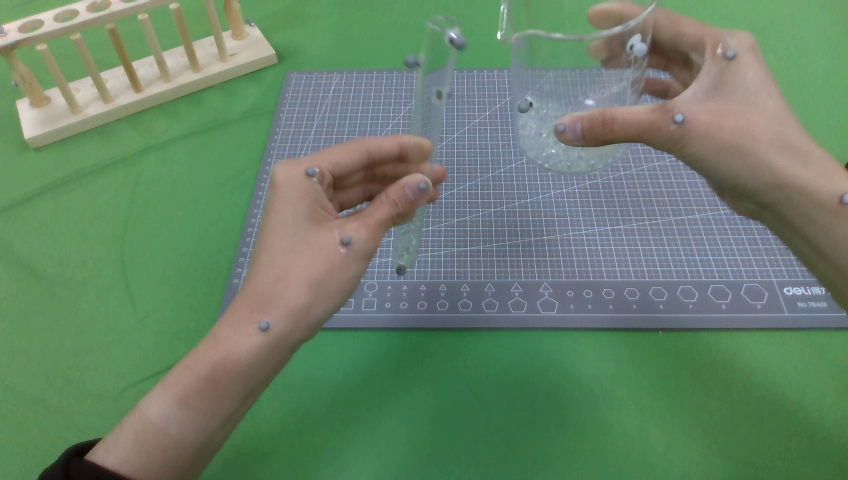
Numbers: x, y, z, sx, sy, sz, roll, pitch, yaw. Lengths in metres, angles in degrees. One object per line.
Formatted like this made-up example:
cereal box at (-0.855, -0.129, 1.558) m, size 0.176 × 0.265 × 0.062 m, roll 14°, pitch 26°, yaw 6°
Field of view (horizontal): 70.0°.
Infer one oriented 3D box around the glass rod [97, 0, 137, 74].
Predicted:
glass rod at (-0.287, -0.222, 0.524) m, size 0.008 × 0.201 × 0.008 m, roll 1°, pitch 54°, yaw -1°

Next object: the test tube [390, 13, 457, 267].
test tube at (-0.003, -0.042, 0.315) m, size 0.017 × 0.151 × 0.017 m, roll 6°, pitch 41°, yaw -5°

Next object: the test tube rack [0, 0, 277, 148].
test tube rack at (-0.274, -0.181, 0.576) m, size 0.242 × 0.086 × 0.066 m, roll -25°, pitch 55°, yaw -17°

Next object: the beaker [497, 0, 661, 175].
beaker at (0.079, -0.090, 0.326) m, size 0.084 × 0.101 × 0.073 m, roll -28°, pitch 54°, yaw -10°
